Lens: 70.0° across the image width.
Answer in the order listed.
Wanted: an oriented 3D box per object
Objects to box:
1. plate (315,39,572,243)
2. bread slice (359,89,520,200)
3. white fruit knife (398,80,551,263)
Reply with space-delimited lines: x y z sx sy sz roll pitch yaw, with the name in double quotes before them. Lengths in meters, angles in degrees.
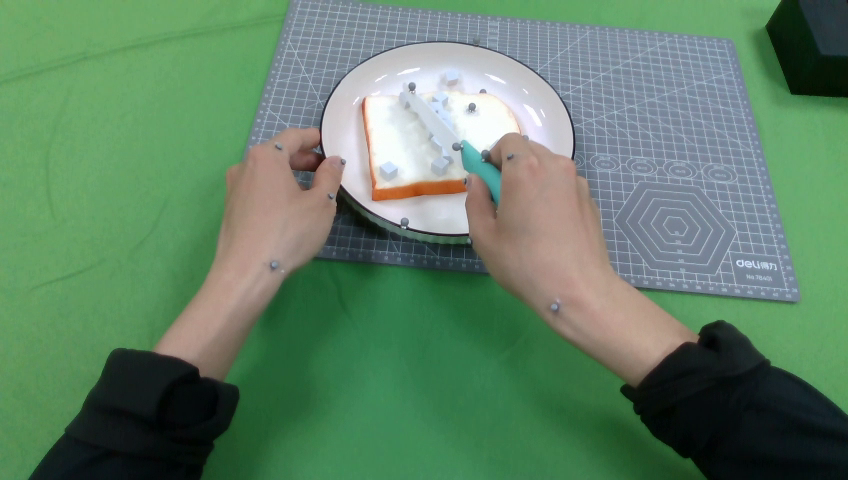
"plate" 0.015 -0.083 0.502 0.209 0.038 0.207 2 59 -3
"bread slice" 0.014 -0.086 0.508 0.132 0.019 0.104 -8 60 -7
"white fruit knife" 0.029 -0.062 0.446 0.016 0.027 0.205 -19 52 -25
